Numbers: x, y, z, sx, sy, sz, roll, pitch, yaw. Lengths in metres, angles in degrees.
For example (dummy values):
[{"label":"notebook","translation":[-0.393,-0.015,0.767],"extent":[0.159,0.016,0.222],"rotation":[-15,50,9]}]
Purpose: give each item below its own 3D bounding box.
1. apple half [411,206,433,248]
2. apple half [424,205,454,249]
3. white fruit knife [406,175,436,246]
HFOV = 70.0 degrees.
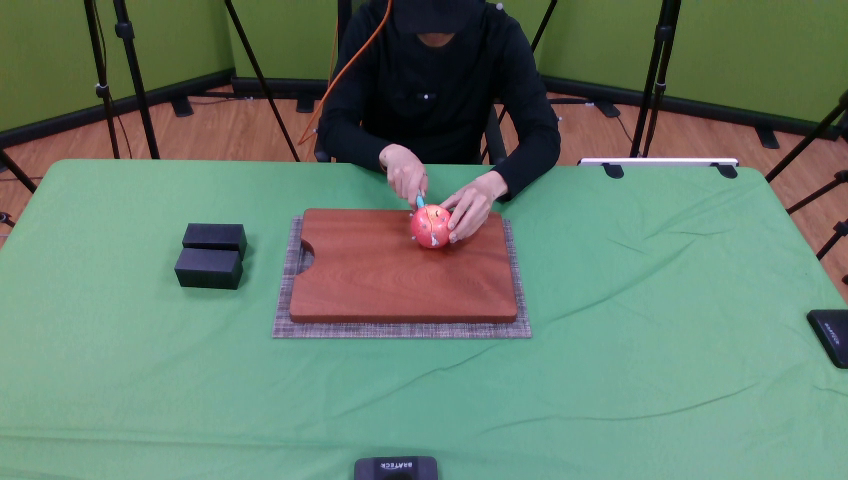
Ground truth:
[{"label":"apple half","translation":[-0.009,-0.019,1.137],"extent":[0.033,0.081,0.080],"rotation":[-9,47,-14]},{"label":"apple half","translation":[0.029,-0.025,1.146],"extent":[0.053,0.075,0.080],"rotation":[-7,43,-16]},{"label":"white fruit knife","translation":[-0.005,-0.061,1.160],"extent":[0.016,0.027,0.206],"rotation":[-8,45,-14]}]
